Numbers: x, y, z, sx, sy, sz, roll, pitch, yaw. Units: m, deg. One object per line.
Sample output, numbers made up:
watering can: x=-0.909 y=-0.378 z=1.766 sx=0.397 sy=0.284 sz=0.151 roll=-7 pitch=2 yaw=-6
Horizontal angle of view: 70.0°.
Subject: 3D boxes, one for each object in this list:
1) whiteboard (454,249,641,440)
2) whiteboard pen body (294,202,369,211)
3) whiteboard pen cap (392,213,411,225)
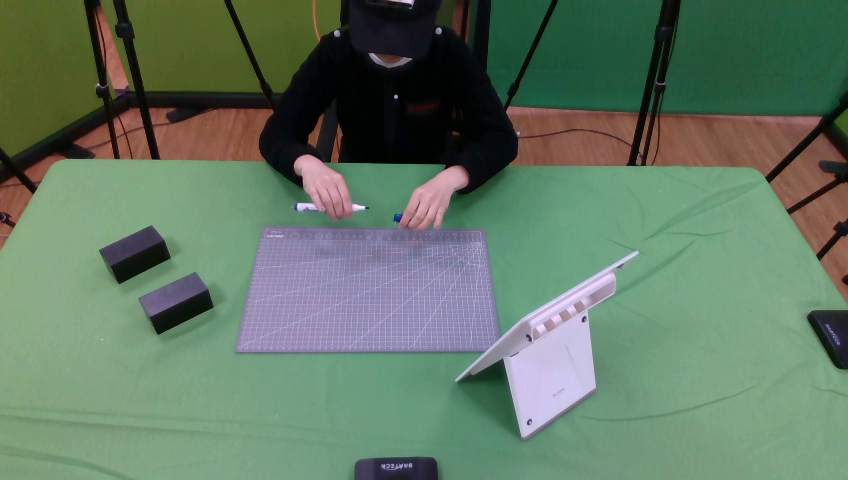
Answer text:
whiteboard: x=0.206 y=0.174 z=0.890 sx=0.217 sy=0.306 sz=0.143 roll=-24 pitch=72 yaw=-25
whiteboard pen body: x=-0.173 y=-0.062 z=1.137 sx=0.141 sy=0.017 sz=0.017 roll=1 pitch=46 yaw=0
whiteboard pen cap: x=-0.043 y=-0.041 z=1.154 sx=0.033 sy=0.018 sz=0.018 roll=16 pitch=43 yaw=-18
